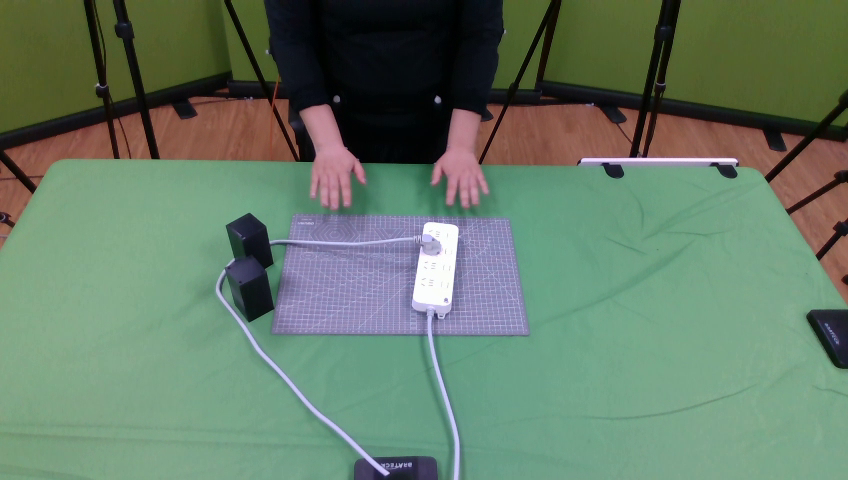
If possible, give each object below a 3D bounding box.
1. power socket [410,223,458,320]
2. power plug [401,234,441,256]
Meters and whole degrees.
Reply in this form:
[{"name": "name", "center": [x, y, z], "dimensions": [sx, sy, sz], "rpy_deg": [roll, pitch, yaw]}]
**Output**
[{"name": "power socket", "center": [0.021, 0.050, 1.139], "dimensions": [0.072, 0.033, 0.225], "rpy_deg": [6, 46, 3]}, {"name": "power plug", "center": [-0.003, 0.011, 1.150], "dimensions": [0.072, 0.053, 0.035], "rpy_deg": [12, 46, 11]}]
